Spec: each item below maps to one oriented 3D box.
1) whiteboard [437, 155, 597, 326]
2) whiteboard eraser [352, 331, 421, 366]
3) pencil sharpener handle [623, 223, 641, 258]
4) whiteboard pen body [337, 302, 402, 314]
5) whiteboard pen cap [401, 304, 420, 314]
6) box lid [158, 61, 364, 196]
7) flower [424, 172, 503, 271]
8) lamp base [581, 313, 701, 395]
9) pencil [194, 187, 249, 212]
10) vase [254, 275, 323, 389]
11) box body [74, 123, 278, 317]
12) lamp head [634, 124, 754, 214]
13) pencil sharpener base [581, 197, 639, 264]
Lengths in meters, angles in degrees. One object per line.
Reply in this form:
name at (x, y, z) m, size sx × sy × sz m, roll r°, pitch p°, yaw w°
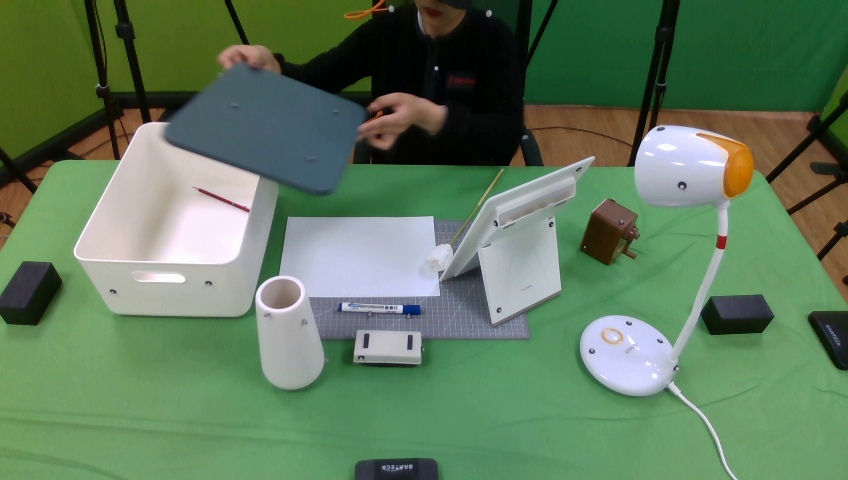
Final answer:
whiteboard at (0.180, 0.023, 1.029) m, size 0.217 × 0.306 × 0.143 m, roll -21°, pitch 71°, yaw -23°
whiteboard eraser at (-0.061, 0.181, 1.005) m, size 0.113 × 0.042 × 0.055 m, roll 2°, pitch 45°, yaw -2°
pencil sharpener handle at (0.399, 0.002, 1.146) m, size 0.030 × 0.068 × 0.036 m, roll 35°, pitch 45°, yaw 26°
whiteboard pen body at (-0.084, 0.121, 1.075) m, size 0.141 × 0.017 × 0.017 m, roll 3°, pitch 46°, yaw -3°
whiteboard pen cap at (-0.023, 0.123, 1.076) m, size 0.033 × 0.018 × 0.018 m, roll 1°, pitch 46°, yaw 1°
box lid at (-0.249, -0.202, 1.025) m, size 0.264 × 0.015 × 0.369 m, roll 20°, pitch 32°, yaw -8°
flower at (0.097, -0.054, 1.260) m, size 0.044 × 0.038 × 0.361 m, roll 18°, pitch 42°, yaw 21°
lamp base at (0.361, 0.144, 0.973) m, size 0.178 × 0.181 × 0.160 m, roll 34°, pitch 53°, yaw 23°
pencil at (-0.397, -0.076, 1.243) m, size 0.193 × 0.012 × 0.012 m, roll 22°, pitch 49°, yaw 18°
vase at (-0.210, 0.143, 0.921) m, size 0.098 × 0.201 × 0.097 m, roll 1°, pitch 46°, yaw -1°
box body at (-0.421, -0.041, 1.108) m, size 0.254 × 0.161 × 0.361 m, roll 2°, pitch 46°, yaw -3°
lamp head at (0.351, -0.089, 0.776) m, size 0.112 × 0.113 × 0.122 m, roll -30°, pitch 30°, yaw -28°
pencil sharpener base at (0.362, -0.016, 1.178) m, size 0.076 × 0.107 × 0.061 m, roll 35°, pitch 53°, yaw 26°
